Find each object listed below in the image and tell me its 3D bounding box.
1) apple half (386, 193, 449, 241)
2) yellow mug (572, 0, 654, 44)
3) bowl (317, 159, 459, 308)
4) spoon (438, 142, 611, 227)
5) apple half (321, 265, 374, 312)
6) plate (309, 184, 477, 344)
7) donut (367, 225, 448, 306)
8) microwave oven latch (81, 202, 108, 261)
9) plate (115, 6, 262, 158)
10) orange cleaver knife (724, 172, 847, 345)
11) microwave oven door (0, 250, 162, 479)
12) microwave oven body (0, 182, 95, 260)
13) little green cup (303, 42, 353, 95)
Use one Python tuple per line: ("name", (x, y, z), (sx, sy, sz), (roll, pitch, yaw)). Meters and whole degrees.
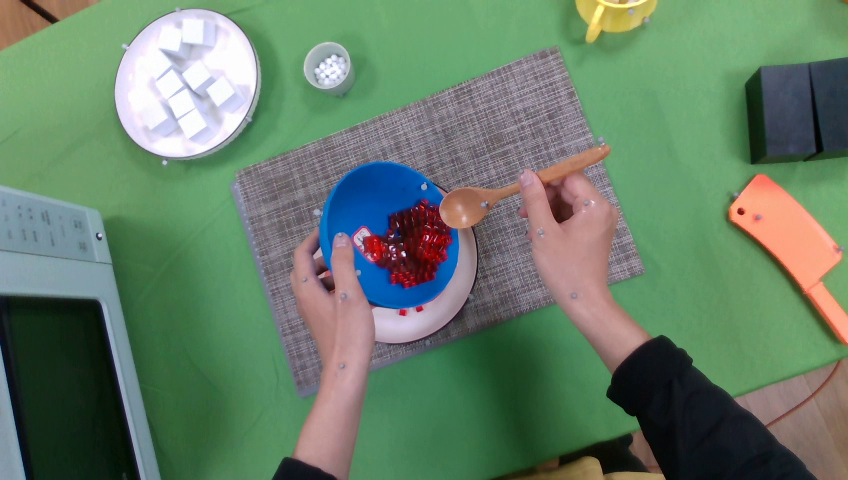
("apple half", (-0.006, -0.035, 0.718), (0.081, 0.033, 0.080), (-1, 43, 2))
("yellow mug", (0.222, -0.295, 0.722), (0.099, 0.064, 0.131), (27, 90, 11))
("bowl", (-0.048, 0.001, 0.620), (0.152, 0.076, 0.150), (10, 72, -30))
("spoon", (0.084, -0.049, 0.555), (0.193, 0.021, 0.042), (-18, 98, 47))
("apple half", (-0.093, 0.047, 0.719), (0.074, 0.053, 0.080), (-25, 76, 47))
("plate", (-0.037, 0.022, 0.744), (0.209, 0.038, 0.208), (-1, 84, 10))
("donut", (-0.020, 0.031, 0.728), (0.099, 0.048, 0.099), (-1, 86, 10))
("microwave oven latch", (-0.444, -0.009, 0.800), (0.030, 0.029, 0.079), (-16, 82, 7))
("plate", (-0.313, -0.209, 0.818), (0.207, 0.039, 0.207), (-1, 84, 10))
("orange cleaver knife", (0.425, 0.017, 0.679), (0.077, 0.012, 0.210), (-35, 78, -2))
("microwave oven door", (-0.400, 0.187, 0.669), (0.039, 0.245, 0.354), (-18, 81, 7))
("microwave oven body", (-0.549, 0.192, 0.699), (0.326, 0.261, 0.440), (-18, 82, 7))
("little green cup", (-0.122, -0.220, 0.787), (0.061, 0.039, 0.061), (-1, 83, 10))
